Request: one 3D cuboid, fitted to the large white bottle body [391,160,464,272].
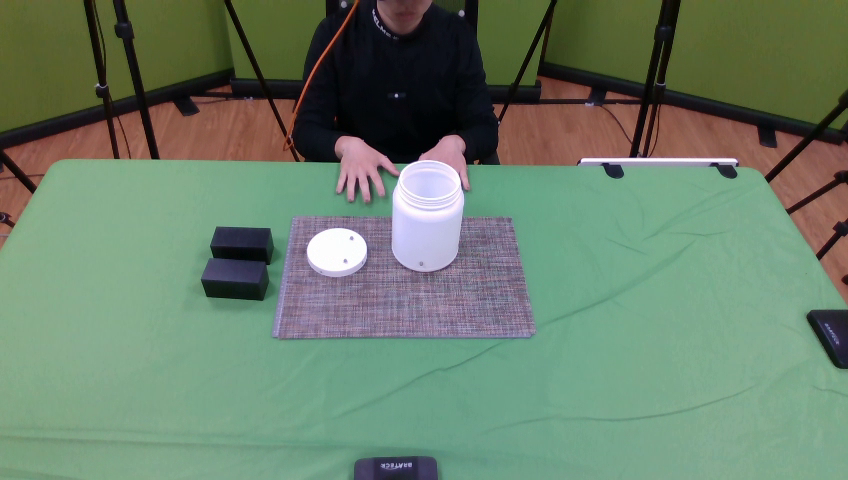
[{"bbox_3d":[0.005,-0.045,1.124,0.131,0.185,0.130,2,47,-2],"label":"large white bottle body"}]

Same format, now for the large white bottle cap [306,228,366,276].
[{"bbox_3d":[-0.168,0.022,1.162,0.115,0.018,0.114,2,46,-2],"label":"large white bottle cap"}]
